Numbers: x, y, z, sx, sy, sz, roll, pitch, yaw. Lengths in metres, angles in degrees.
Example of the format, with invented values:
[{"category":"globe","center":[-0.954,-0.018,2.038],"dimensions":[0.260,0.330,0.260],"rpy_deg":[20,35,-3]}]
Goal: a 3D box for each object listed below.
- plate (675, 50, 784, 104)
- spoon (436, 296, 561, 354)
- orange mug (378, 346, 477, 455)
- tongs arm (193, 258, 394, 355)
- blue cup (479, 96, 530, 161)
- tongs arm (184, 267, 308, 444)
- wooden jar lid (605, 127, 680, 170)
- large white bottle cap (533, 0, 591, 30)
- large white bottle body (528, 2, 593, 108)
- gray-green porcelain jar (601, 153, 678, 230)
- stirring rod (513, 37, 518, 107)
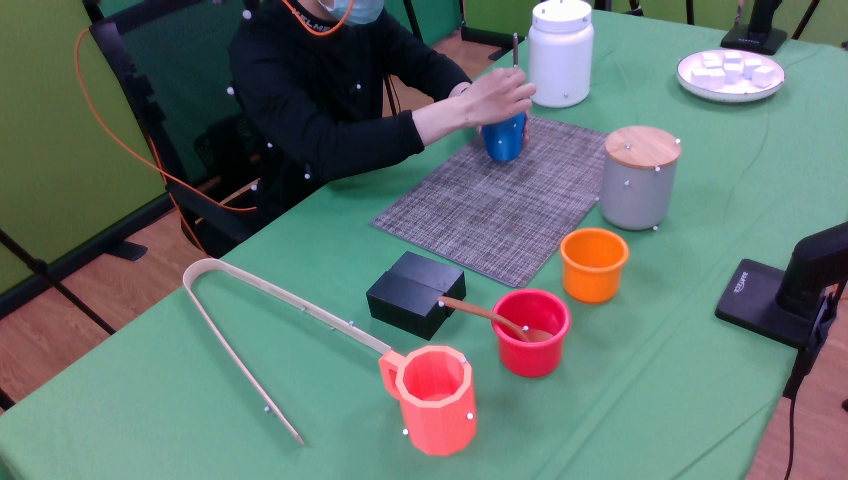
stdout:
[{"category":"plate","center":[0.632,-0.336,1.262],"dimensions":[0.207,0.039,0.206],"rpy_deg":[-4,41,4]},{"category":"spoon","center":[0.096,0.102,0.750],"dimensions":[0.195,0.021,0.041],"rpy_deg":[28,31,-28]},{"category":"orange mug","center":[0.002,0.179,0.708],"dimensions":[0.125,0.101,0.083],"rpy_deg":[25,50,27]},{"category":"tongs arm","center":[-0.204,0.100,0.881],"dimensions":[0.382,0.027,0.051],"rpy_deg":[23,55,32]},{"category":"blue cup","center":[0.147,-0.205,1.131],"dimensions":[0.092,0.100,0.092],"rpy_deg":[-4,39,4]},{"category":"tongs arm","center":[-0.259,0.148,0.843],"dimensions":[0.028,0.028,0.384],"rpy_deg":[-38,48,-18]},{"category":"wooden jar lid","center":[0.327,-0.134,0.909],"dimensions":[0.108,0.021,0.108],"rpy_deg":[-2,43,2]},{"category":"large white bottle cap","center":[0.274,-0.450,1.204],"dimensions":[0.115,0.018,0.114],"rpy_deg":[-4,41,4]},{"category":"large white bottle body","center":[0.283,-0.386,1.259],"dimensions":[0.130,0.185,0.130],"rpy_deg":[-5,41,4]},{"category":"gray-green porcelain jar","center":[0.334,-0.087,0.949],"dimensions":[0.106,0.127,0.105],"rpy_deg":[-4,40,4]},{"category":"stirring rod","center":[0.163,-0.272,1.077],"dimensions":[0.006,0.177,0.014],"rpy_deg":[6,37,16]}]
